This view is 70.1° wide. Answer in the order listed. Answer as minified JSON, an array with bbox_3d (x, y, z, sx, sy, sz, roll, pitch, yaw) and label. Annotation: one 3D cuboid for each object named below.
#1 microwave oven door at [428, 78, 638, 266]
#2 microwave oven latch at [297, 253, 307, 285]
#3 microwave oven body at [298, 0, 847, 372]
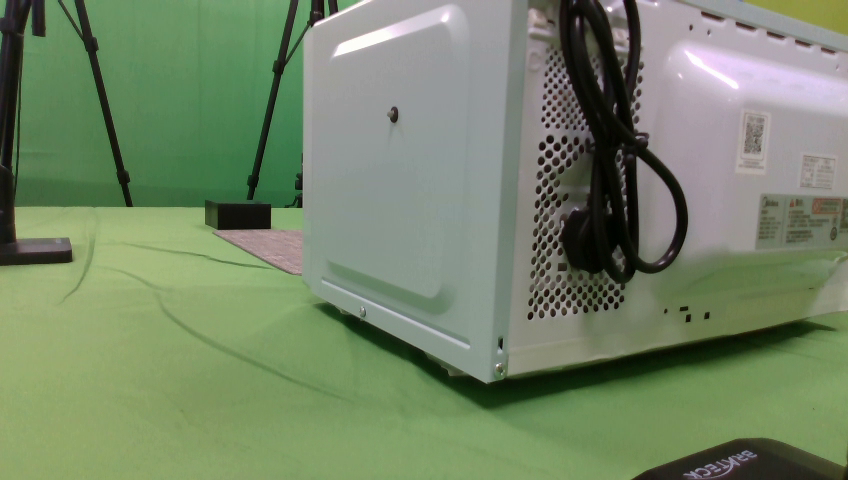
[{"bbox_3d":[0.141,-0.106,0.902,0.039,0.243,0.354,-4,10,-42],"label":"microwave oven door"},{"bbox_3d":[-0.082,0.027,0.582,0.079,0.029,0.030,-1,7,-32],"label":"microwave oven latch"},{"bbox_3d":[0.151,-0.055,0.543,0.444,0.260,0.324,-1,7,-33],"label":"microwave oven body"}]
